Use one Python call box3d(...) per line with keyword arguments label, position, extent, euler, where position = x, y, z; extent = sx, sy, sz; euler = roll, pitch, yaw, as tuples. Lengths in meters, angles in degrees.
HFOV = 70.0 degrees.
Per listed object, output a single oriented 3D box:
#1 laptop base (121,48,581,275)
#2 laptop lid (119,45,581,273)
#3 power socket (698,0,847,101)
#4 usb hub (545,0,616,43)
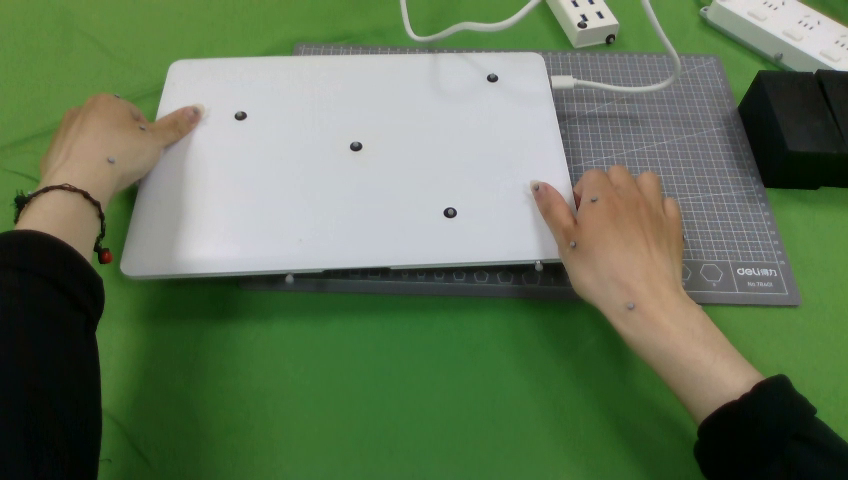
box3d(label="laptop base", position=(-0.059, -0.076, 0.525), extent=(0.354, 0.023, 0.233), euler=(-2, 60, -2))
box3d(label="laptop lid", position=(-0.059, -0.081, 0.513), extent=(0.357, 0.013, 0.239), euler=(-1, 59, -1))
box3d(label="power socket", position=(0.399, -0.212, 0.633), extent=(0.072, 0.033, 0.225), euler=(-35, 63, -22))
box3d(label="usb hub", position=(0.163, -0.271, 0.673), extent=(0.049, 0.025, 0.124), euler=(-13, 58, -8))
